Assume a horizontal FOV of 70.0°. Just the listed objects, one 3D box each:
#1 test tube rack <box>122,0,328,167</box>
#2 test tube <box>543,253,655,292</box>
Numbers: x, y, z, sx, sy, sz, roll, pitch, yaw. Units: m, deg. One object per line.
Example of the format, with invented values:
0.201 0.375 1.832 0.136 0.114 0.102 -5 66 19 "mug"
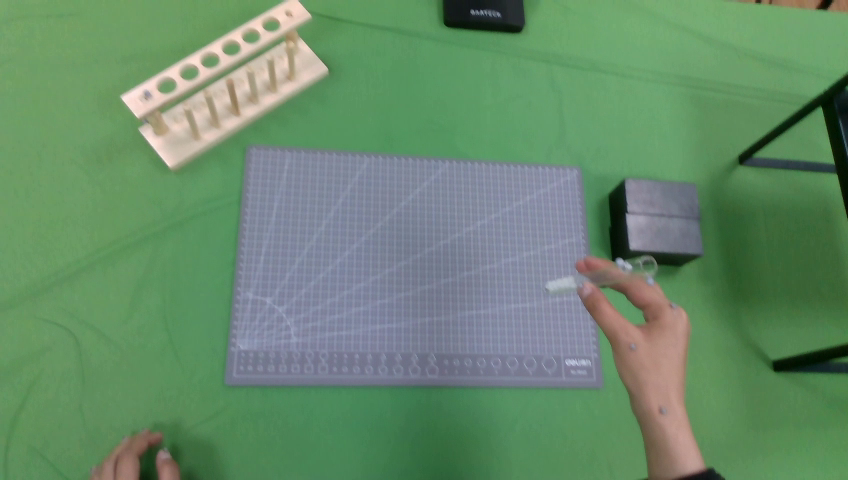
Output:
-0.235 -0.198 0.752 0.242 0.085 0.066 -38 81 -19 "test tube rack"
0.147 0.030 0.532 0.017 0.150 0.017 4 78 -19 "test tube"
